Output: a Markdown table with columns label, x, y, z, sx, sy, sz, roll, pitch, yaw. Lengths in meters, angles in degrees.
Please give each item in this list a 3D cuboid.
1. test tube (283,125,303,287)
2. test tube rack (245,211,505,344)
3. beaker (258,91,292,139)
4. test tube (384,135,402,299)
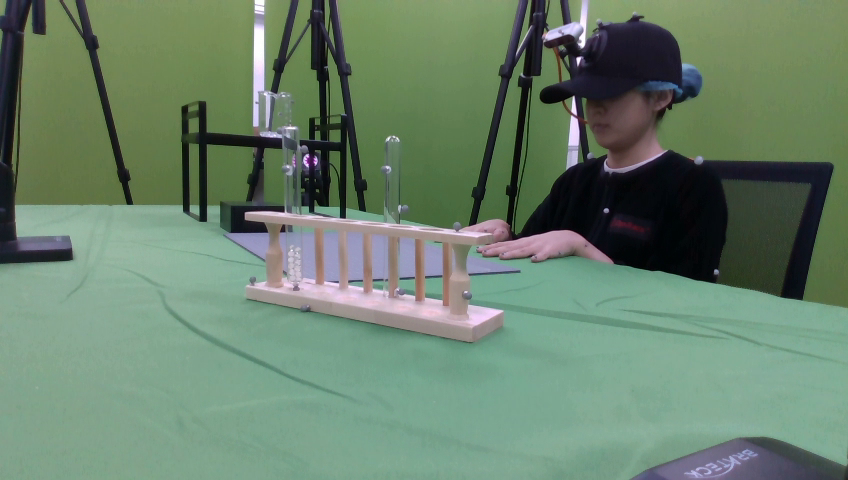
| label | x | y | z | sx | sy | sz | roll | pitch | yaw |
| --- | --- | --- | --- | --- | --- | --- | --- | --- | --- |
| test tube | -0.121 | -0.030 | 0.558 | 0.017 | 0.150 | 0.017 | 1 | 11 | 0 |
| test tube rack | -0.049 | 0.025 | 0.547 | 0.241 | 0.085 | 0.067 | 7 | 8 | 28 |
| beaker | -0.331 | -0.276 | 1.343 | 0.074 | 0.100 | 0.083 | 0 | 8 | -20 |
| test tube | -0.028 | -0.019 | 0.550 | 0.017 | 0.150 | 0.017 | 1 | 9 | 0 |
